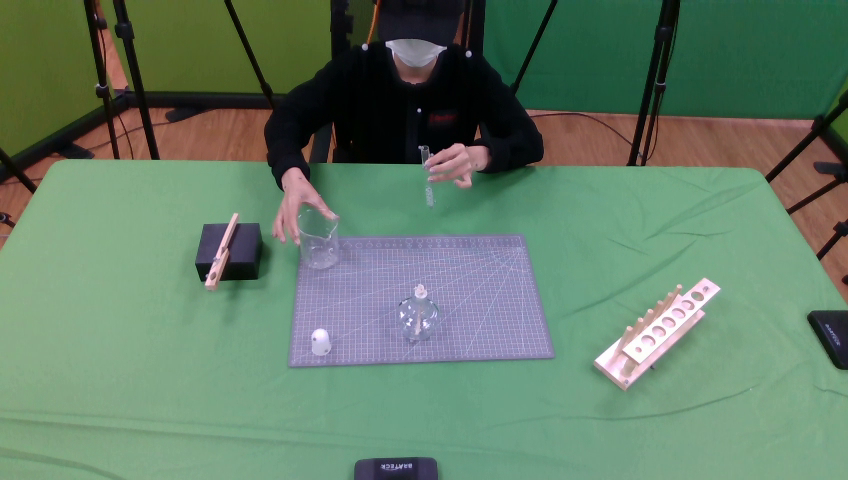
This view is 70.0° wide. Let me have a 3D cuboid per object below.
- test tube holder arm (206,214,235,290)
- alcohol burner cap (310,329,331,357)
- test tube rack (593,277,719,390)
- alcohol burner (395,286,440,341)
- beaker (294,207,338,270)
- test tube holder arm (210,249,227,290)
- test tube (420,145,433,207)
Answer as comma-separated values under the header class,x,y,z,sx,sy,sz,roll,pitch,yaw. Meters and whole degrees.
class,x,y,z,sx,sy,sz,roll,pitch,yaw
test tube holder arm,-0.365,0.017,1.090,0.013,0.015,0.177,7,45,-8
alcohol burner cap,-0.173,0.168,1.005,0.034,0.048,0.033,2,46,-2
test tube rack,0.401,0.148,1.043,0.242,0.085,0.066,-30,55,-29
alcohol burner,-0.010,0.116,1.018,0.078,0.119,0.077,3,47,-3
beaker,-0.196,0.003,1.123,0.074,0.101,0.083,-23,53,-24
test tube holder arm,-0.359,0.050,1.059,0.010,0.015,0.087,8,45,-8
test tube,0.005,-0.119,1.162,0.017,0.151,0.017,-3,47,3
